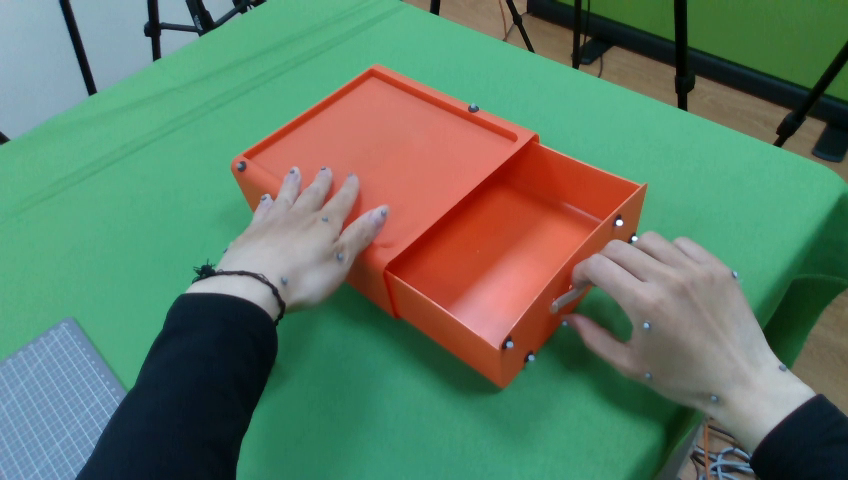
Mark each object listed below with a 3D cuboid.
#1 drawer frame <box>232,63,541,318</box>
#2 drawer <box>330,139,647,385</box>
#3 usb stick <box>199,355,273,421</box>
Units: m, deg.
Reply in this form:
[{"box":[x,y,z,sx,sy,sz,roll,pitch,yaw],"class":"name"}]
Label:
[{"box":[-0.033,-0.059,0.574,0.211,0.083,0.201,31,61,32],"class":"drawer frame"},{"box":[0.046,-0.012,0.521,0.210,0.074,0.194,31,61,31],"class":"drawer"},{"box":[-0.147,0.112,0.481,0.021,0.027,0.059,26,55,29],"class":"usb stick"}]
